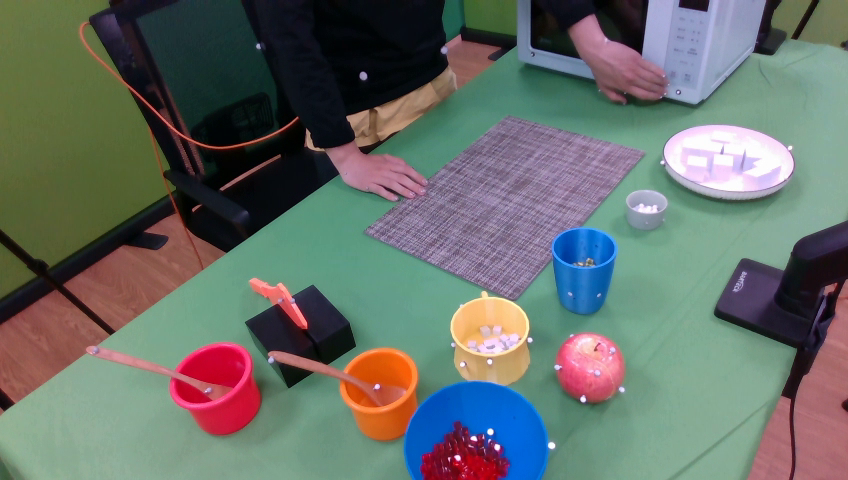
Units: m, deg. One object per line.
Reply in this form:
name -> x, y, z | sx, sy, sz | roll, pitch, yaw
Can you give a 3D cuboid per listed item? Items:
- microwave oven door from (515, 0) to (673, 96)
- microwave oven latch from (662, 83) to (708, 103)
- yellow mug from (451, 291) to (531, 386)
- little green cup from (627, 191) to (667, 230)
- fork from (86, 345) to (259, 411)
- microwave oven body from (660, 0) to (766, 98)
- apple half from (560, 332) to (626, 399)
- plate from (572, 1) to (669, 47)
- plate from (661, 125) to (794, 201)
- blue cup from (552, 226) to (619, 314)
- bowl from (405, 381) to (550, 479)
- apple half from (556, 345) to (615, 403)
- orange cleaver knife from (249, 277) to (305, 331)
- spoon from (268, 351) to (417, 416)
microwave oven door -> 0.344, -0.455, 1.260 | 0.353, 0.245, 0.039 | 26, 51, 33
microwave oven latch -> 0.518, -0.297, 1.204 | 0.078, 0.029, 0.030 | 28, 53, 36
yellow mug -> 0.086, 0.119, 0.787 | 0.100, 0.064, 0.130 | -7, 39, 1
little green cup -> 0.352, -0.046, 0.963 | 0.061, 0.039, 0.061 | -4, 40, 4
fork -> -0.298, 0.166, 0.728 | 0.209, 0.018, 0.028 | 28, 45, -23
microwave oven body -> 0.473, -0.514, 1.317 | 0.438, 0.261, 0.327 | 26, 51, 34
apple half -> 0.209, 0.147, 0.731 | 0.080, 0.075, 0.053 | 26, 48, 38
plate -> 0.441, -0.484, 1.366 | 0.209, 0.038, 0.208 | -5, 41, 5
plate -> 0.514, -0.128, 1.036 | 0.207, 0.039, 0.206 | -4, 40, 4
blue cup -> 0.219, 0.046, 0.826 | 0.092, 0.101, 0.092 | -6, 40, 5
bowl -> 0.058, 0.235, 0.646 | 0.151, 0.077, 0.150 | -4, 39, 4
apple half -> 0.182, 0.166, 0.710 | 0.080, 0.081, 0.033 | 29, 50, 35
orange cleaver knife -> -0.210, 0.088, 0.856 | 0.012, 0.077, 0.210 | -28, 15, -24
spoon -> -0.090, 0.162, 0.699 | 0.021, 0.195, 0.041 | -45, 30, 26
